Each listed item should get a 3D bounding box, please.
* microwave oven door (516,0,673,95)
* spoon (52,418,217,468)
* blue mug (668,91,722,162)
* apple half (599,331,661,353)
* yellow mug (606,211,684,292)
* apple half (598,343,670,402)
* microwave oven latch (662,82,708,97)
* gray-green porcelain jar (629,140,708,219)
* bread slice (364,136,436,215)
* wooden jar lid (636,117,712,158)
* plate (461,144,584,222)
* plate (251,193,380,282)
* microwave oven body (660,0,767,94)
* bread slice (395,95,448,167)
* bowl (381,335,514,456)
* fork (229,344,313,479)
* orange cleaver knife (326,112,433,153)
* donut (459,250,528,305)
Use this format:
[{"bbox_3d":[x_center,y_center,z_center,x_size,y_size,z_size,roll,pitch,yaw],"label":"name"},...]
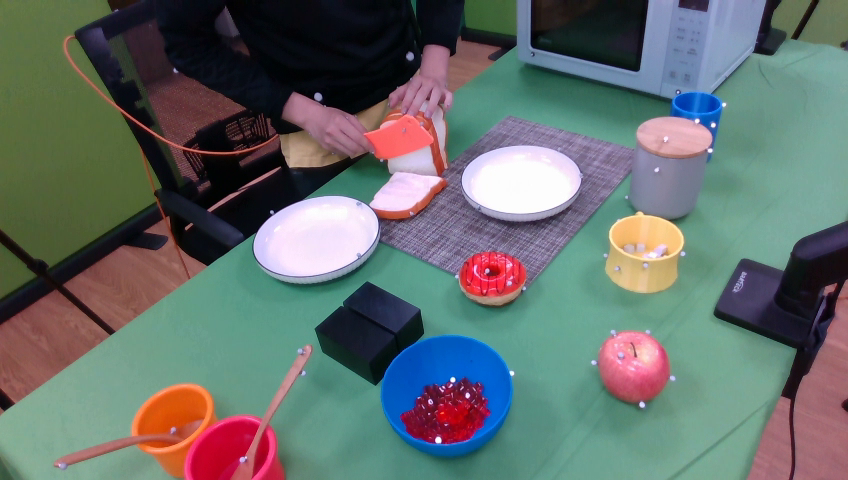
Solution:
[{"bbox_3d":[0.344,-0.458,1.256,0.353,0.245,0.039,26,51,33],"label":"microwave oven door"},{"bbox_3d":[-0.308,0.220,0.663,0.041,0.195,0.021,21,93,29],"label":"spoon"},{"bbox_3d":[0.474,-0.207,1.079,0.082,0.106,0.116,4,42,13],"label":"blue mug"},{"bbox_3d":[0.249,0.134,0.738,0.081,0.081,0.032,-1,46,7],"label":"apple half"},{"bbox_3d":[0.318,0.008,0.883,0.100,0.064,0.130,0,40,9],"label":"yellow mug"},{"bbox_3d":[0.247,0.161,0.710,0.081,0.075,0.053,2,47,5],"label":"apple half"},{"bbox_3d":[0.518,-0.298,1.202,0.078,0.029,0.030,28,53,35],"label":"microwave oven latch"},{"bbox_3d":[0.383,-0.105,0.958,0.106,0.127,0.105,-4,41,4],"label":"gray-green porcelain jar"},{"bbox_3d":[-0.051,-0.109,1.028,0.106,0.018,0.134,17,86,21],"label":"bread slice"},{"bbox_3d":[0.377,-0.151,0.917,0.108,0.021,0.108,-2,42,3],"label":"wooden jar lid"},{"bbox_3d":[0.168,-0.095,1.040,0.207,0.039,0.206,-4,40,4],"label":"plate"},{"bbox_3d":[-0.173,-0.001,0.984,0.209,0.038,0.208,-4,40,4],"label":"plate"},{"bbox_3d":[0.473,-0.516,1.313,0.438,0.261,0.327,26,51,34],"label":"microwave oven body"},{"bbox_3d":[-0.005,-0.204,1.130,0.104,0.132,0.019,7,25,17],"label":"bread slice"},{"bbox_3d":[0.029,0.192,0.701,0.151,0.077,0.150,-4,40,4],"label":"bowl"},{"bbox_3d":[-0.173,0.205,0.662,0.028,0.019,0.207,29,94,36],"label":"fork"},{"bbox_3d":[-0.082,-0.179,1.086,0.210,0.078,0.012,-8,44,32],"label":"orange cleaver knife"},{"bbox_3d":[0.100,0.053,0.872,0.099,0.048,0.098,-5,40,4],"label":"donut"}]
